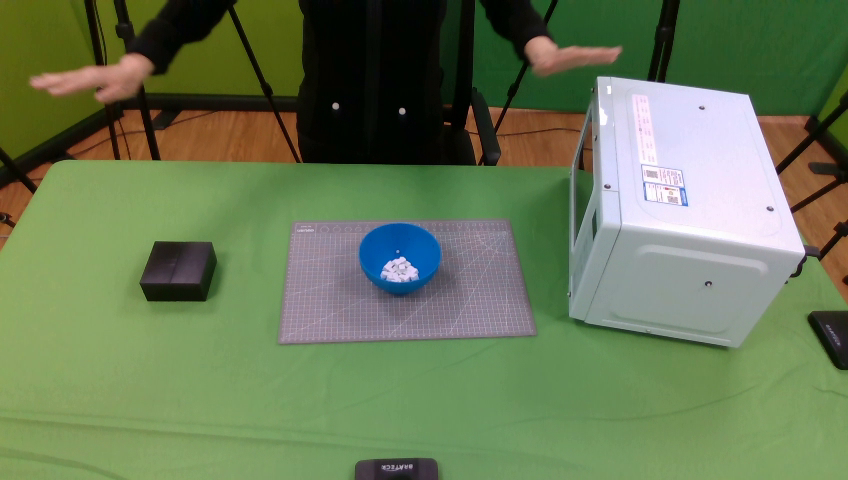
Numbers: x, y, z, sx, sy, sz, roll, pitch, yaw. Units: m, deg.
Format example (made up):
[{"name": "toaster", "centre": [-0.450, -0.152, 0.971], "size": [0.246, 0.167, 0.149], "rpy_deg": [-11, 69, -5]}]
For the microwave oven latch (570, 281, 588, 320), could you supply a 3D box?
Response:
[{"name": "microwave oven latch", "centre": [0.275, 0.105, 1.082], "size": [0.030, 0.029, 0.079], "rpy_deg": [9, 45, 6]}]

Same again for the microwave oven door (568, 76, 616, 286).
[{"name": "microwave oven door", "centre": [0.319, -0.119, 1.161], "size": [0.039, 0.245, 0.354], "rpy_deg": [9, 46, 5]}]

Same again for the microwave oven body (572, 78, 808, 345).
[{"name": "microwave oven body", "centre": [0.456, -0.063, 1.124], "size": [0.326, 0.261, 0.439], "rpy_deg": [8, 45, 5]}]

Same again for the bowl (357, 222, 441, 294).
[{"name": "bowl", "centre": [-0.047, 0.046, 1.107], "size": [0.151, 0.077, 0.150], "rpy_deg": [2, 46, -2]}]
